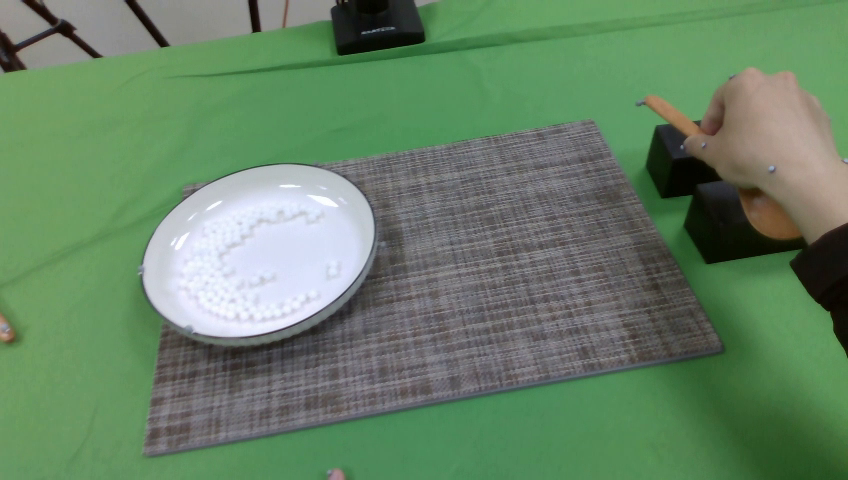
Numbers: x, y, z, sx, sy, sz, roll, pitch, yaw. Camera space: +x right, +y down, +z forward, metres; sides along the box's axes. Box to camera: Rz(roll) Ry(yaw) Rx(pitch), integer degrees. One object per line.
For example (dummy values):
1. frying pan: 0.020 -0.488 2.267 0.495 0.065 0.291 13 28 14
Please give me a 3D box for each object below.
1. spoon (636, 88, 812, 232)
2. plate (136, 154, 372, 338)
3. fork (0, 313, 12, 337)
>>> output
1. spoon: 0.234 -0.074 0.494 0.041 0.022 0.191 -32 55 5
2. plate: -0.149 0.004 0.551 0.207 0.039 0.205 -3 49 3
3. fork: -0.437 0.032 0.572 0.205 0.019 0.028 31 52 30
